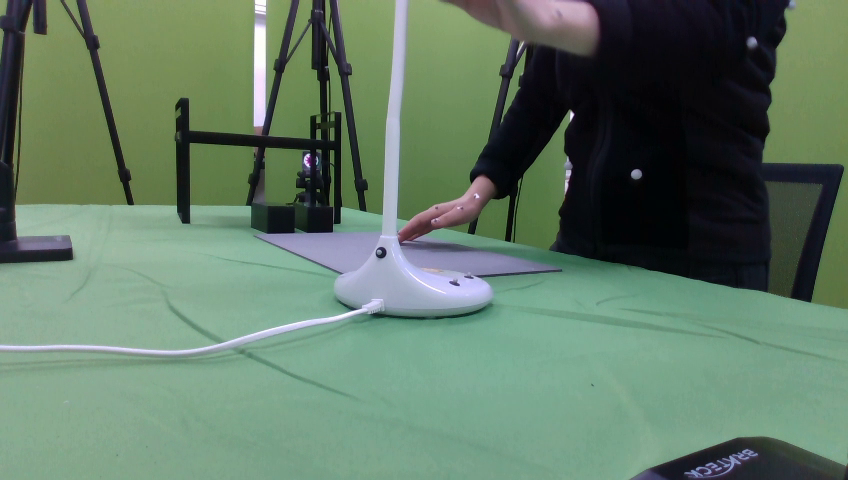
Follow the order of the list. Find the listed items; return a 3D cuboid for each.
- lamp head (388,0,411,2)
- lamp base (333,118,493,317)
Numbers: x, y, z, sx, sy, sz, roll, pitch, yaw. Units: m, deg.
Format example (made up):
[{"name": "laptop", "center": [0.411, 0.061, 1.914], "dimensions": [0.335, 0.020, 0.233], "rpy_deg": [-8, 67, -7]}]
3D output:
[{"name": "lamp head", "center": [-0.023, -0.317, 0.602], "dimensions": [0.112, 0.112, 0.123], "rpy_deg": [4, -27, 12]}, {"name": "lamp base", "center": [-0.012, -0.025, 0.585], "dimensions": [0.160, 0.180, 0.179], "rpy_deg": [4, 10, 15]}]
